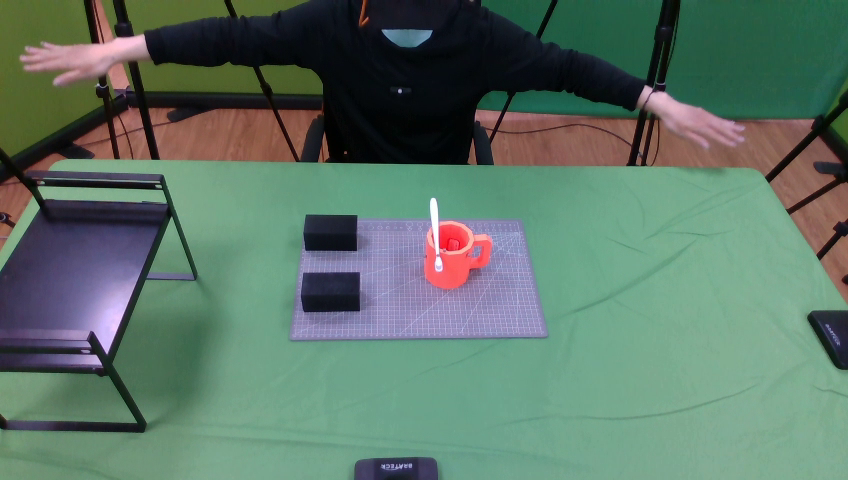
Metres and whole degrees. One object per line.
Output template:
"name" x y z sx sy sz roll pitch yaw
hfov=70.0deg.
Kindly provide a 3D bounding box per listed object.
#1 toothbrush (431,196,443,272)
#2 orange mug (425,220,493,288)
"toothbrush" 0.022 -0.016 1.081 0.014 0.017 0.180 -8 47 5
"orange mug" 0.064 0.023 1.119 0.126 0.101 0.083 -9 47 -6
